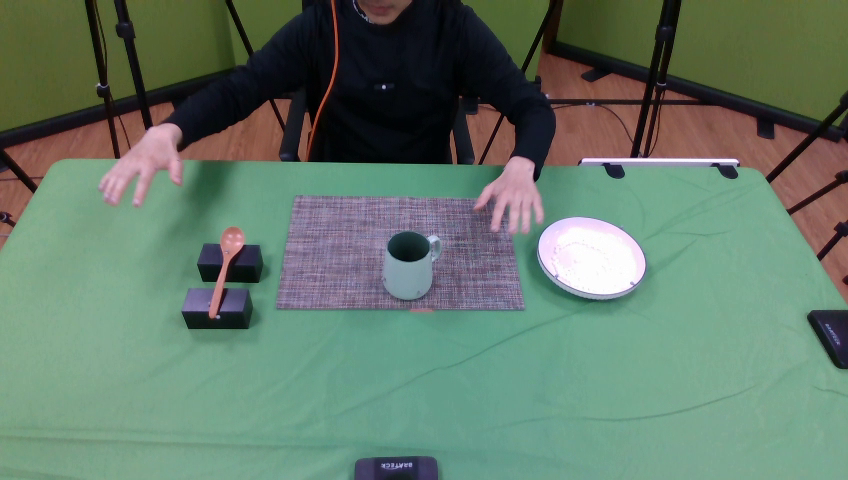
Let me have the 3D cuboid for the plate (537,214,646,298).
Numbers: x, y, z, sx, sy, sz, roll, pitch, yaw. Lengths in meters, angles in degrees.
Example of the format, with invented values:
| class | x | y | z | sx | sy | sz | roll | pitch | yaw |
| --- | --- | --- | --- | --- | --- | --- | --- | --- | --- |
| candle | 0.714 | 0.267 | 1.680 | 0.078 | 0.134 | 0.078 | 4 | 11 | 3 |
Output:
| class | x | y | z | sx | sy | sz | roll | pitch | yaw |
| --- | --- | --- | --- | --- | --- | --- | --- | --- | --- |
| plate | 0.321 | 0.035 | 1.176 | 0.209 | 0.038 | 0.208 | 2 | 47 | -2 |

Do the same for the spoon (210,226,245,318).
| class | x | y | z | sx | sy | sz | roll | pitch | yaw |
| --- | --- | --- | --- | --- | --- | --- | --- | --- | --- |
| spoon | -0.347 | 0.051 | 1.051 | 0.042 | 0.022 | 0.192 | 16 | 44 | -18 |

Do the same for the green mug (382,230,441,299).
| class | x | y | z | sx | sy | sz | roll | pitch | yaw |
| --- | --- | --- | --- | --- | --- | --- | --- | --- | --- |
| green mug | -0.017 | 0.037 | 1.097 | 0.125 | 0.105 | 0.092 | -34 | 57 | -31 |
